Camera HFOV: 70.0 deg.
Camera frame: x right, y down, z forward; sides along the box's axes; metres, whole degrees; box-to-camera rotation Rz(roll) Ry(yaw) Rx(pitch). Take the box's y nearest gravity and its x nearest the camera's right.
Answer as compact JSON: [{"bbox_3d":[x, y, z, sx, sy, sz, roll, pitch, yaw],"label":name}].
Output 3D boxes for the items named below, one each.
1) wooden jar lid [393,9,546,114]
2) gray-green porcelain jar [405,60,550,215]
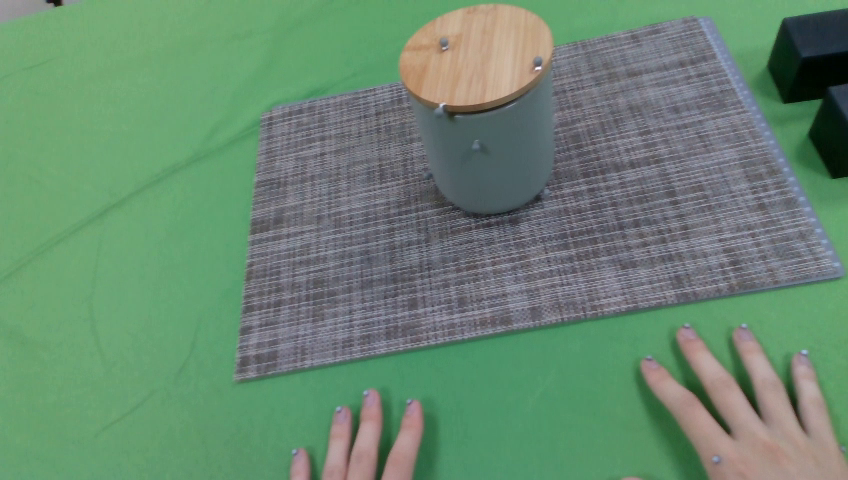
[{"bbox_3d":[0.033,-0.124,0.430,0.108,0.021,0.107,-6,54,9],"label":"wooden jar lid"},{"bbox_3d":[0.046,-0.090,0.482,0.106,0.128,0.105,-6,55,9],"label":"gray-green porcelain jar"}]
